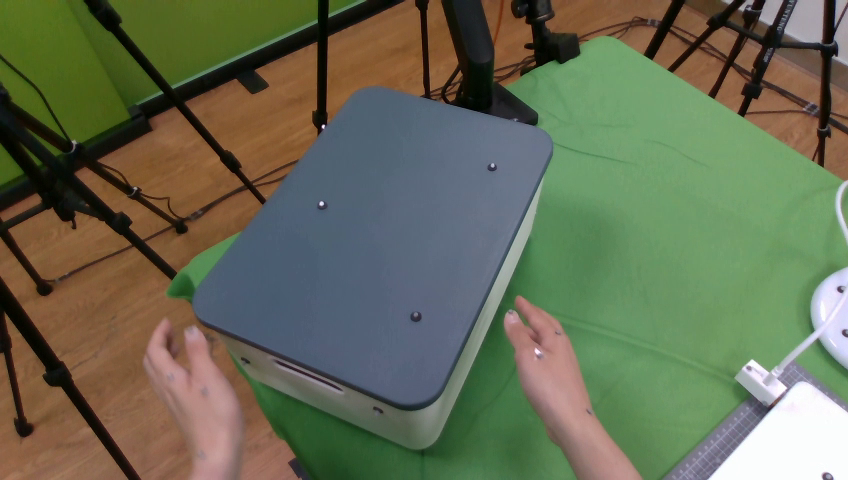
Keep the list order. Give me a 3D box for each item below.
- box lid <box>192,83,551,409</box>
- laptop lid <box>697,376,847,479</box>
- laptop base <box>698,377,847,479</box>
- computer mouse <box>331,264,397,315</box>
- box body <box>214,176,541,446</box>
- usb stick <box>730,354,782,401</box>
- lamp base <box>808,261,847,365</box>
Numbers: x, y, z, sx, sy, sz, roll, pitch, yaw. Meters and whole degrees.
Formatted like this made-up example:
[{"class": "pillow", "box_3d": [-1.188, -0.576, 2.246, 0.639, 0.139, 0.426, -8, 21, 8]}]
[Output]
[{"class": "box lid", "box_3d": [-0.038, -0.027, 0.640, 0.262, 0.015, 0.369, 19, 57, 16]}, {"class": "laptop lid", "box_3d": [0.428, 0.313, 0.540, 0.241, 0.013, 0.353, -34, 59, -18]}, {"class": "laptop base", "box_3d": [0.431, 0.318, 0.550, 0.235, 0.023, 0.351, -37, 60, -18]}, {"class": "computer mouse", "box_3d": [-0.072, 0.054, 0.736, 0.063, 0.041, 0.117, -6, 14, 8]}, {"class": "box body", "box_3d": [-0.037, 0.018, 0.698, 0.253, 0.162, 0.362, 19, 57, 15]}, {"class": "usb stick", "box_3d": [0.366, 0.155, 0.657, 0.021, 0.027, 0.058, -28, 60, -23]}, {"class": "lamp base", "box_3d": [0.534, 0.039, 0.652, 0.160, 0.182, 0.178, 9, 52, 9]}]
